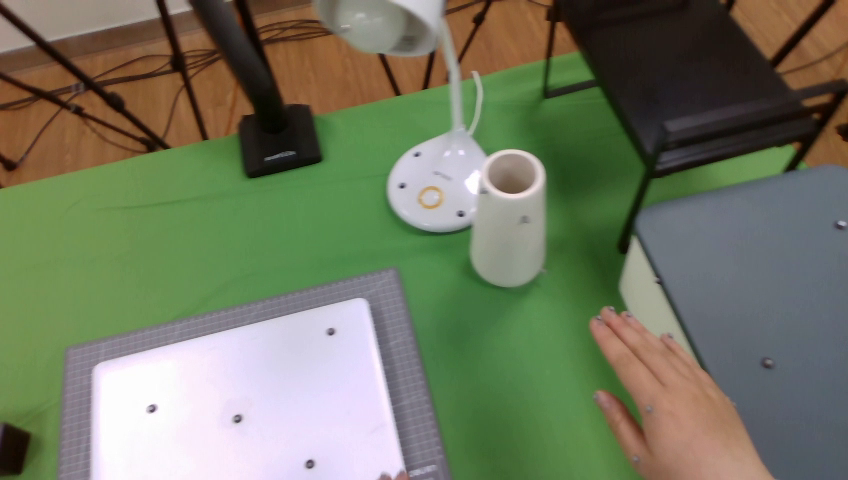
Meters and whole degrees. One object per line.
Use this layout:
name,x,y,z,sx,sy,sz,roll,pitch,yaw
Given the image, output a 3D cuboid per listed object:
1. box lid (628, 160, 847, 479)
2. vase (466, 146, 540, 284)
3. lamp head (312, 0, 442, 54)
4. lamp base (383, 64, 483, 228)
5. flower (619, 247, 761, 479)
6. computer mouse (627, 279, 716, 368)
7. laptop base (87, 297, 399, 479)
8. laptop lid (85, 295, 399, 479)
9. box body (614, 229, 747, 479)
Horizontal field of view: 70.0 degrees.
box lid,0.383,0.083,0.588,0.263,0.015,0.367,-13,59,-4
vase,0.097,-0.026,0.740,0.098,0.202,0.097,-3,58,5
lamp head,-0.030,-0.242,0.539,0.112,0.113,0.122,13,79,12
lamp base,0.018,-0.135,0.821,0.160,0.182,0.178,16,59,13
flower,0.318,0.168,0.679,0.044,0.038,0.358,2,58,-47
computer mouse,0.300,0.098,0.737,0.063,0.041,0.116,-20,52,-2
laptop base,-0.223,0.213,0.727,0.354,0.023,0.233,-14,62,-4
laptop lid,-0.223,0.209,0.716,0.357,0.013,0.239,-13,62,-3
box body,0.389,0.123,0.651,0.254,0.162,0.360,-13,59,-3
